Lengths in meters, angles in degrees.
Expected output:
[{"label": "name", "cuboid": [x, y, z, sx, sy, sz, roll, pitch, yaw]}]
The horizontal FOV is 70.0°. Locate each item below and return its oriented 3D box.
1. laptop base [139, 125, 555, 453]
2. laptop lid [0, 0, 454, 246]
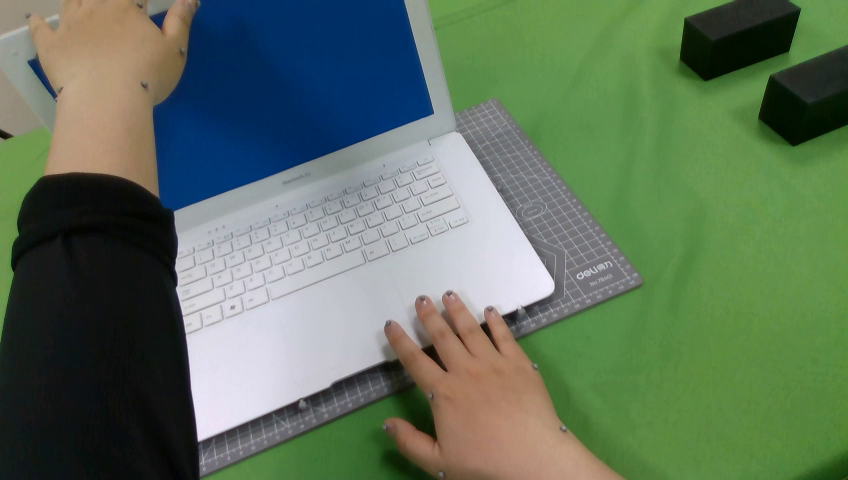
[{"label": "laptop base", "cuboid": [-0.088, 0.026, 0.561, 0.354, 0.023, 0.233, -22, 52, -4]}, {"label": "laptop lid", "cuboid": [-0.156, -0.140, 0.558, 0.357, 0.244, 0.013, -23, 42, -3]}]
